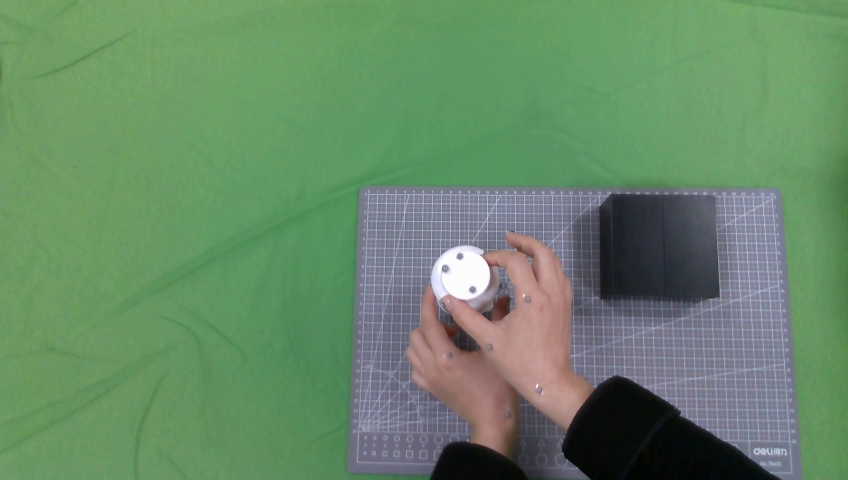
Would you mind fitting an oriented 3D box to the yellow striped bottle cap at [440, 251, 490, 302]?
[{"bbox_3d":[0.035,0.032,0.529,0.044,0.019,0.044,-1,82,4],"label":"yellow striped bottle cap"}]

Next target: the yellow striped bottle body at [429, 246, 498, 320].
[{"bbox_3d":[0.037,0.042,0.580,0.063,0.120,0.062,0,79,1],"label":"yellow striped bottle body"}]
